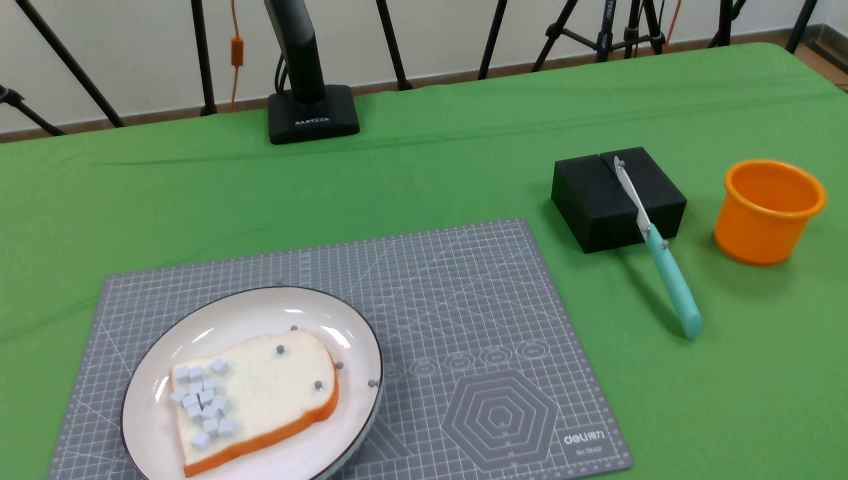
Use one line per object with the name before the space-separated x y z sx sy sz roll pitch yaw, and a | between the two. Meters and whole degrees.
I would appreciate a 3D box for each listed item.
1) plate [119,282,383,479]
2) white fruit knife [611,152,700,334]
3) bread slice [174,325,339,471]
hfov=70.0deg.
plate | -0.137 0.122 0.501 0.209 0.038 0.207 -1 43 1
white fruit knife | 0.220 -0.007 0.593 0.016 0.027 0.205 -9 58 -7
bread slice | -0.140 0.120 0.507 0.132 0.019 0.103 -19 46 -15
